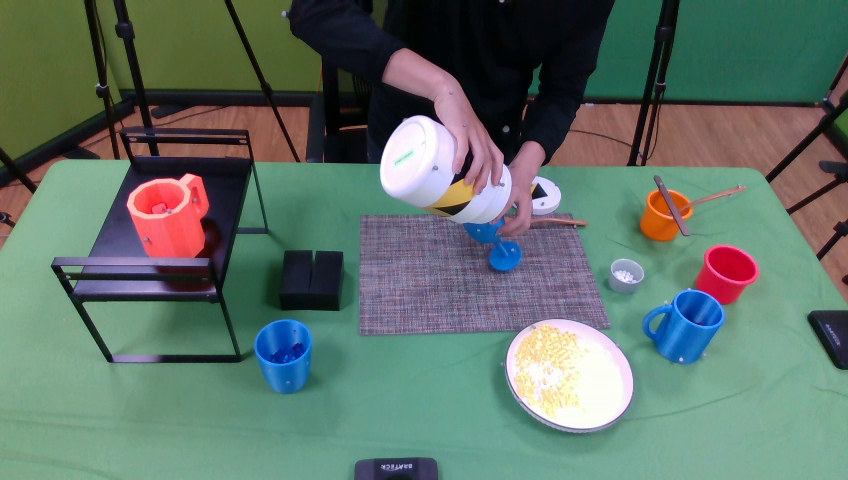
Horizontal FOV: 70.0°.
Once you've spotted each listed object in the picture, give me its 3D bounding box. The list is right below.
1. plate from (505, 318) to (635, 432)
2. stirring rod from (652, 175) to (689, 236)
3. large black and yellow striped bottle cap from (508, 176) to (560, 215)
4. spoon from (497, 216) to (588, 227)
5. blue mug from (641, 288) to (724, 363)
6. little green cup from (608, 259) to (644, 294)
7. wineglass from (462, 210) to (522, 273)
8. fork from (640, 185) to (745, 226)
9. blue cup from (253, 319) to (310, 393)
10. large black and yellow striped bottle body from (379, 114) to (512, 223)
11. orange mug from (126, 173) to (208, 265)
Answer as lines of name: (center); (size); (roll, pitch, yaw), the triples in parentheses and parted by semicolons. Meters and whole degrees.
plate: (0.235, 0.221, 0.991); (0.209, 0.038, 0.208); (2, 45, -2)
stirring rod: (0.491, -0.072, 1.211); (0.014, 0.006, 0.175); (0, 46, -6)
large black and yellow striped bottle cap: (0.237, -0.098, 1.312); (0.115, 0.019, 0.114); (2, 43, -1)
spoon: (0.246, -0.039, 1.247); (0.194, 0.022, 0.041); (-2, 24, -6)
blue mug: (0.432, 0.144, 1.033); (0.116, 0.106, 0.082); (9, 46, 4)
little green cup: (0.379, 0.070, 1.147); (0.061, 0.039, 0.061); (3, 45, -3)
wineglass: (0.122, -0.013, 1.091); (0.073, 0.173, 0.073); (-13, 55, 19)
fork: (0.534, -0.069, 1.215); (0.207, 0.019, 0.028); (-26, 28, 33)
blue cup: (-0.217, 0.187, 0.943); (0.093, 0.101, 0.092); (3, 45, -3)
large black and yellow striped bottle body: (0.037, -0.103, 0.950); (0.185, 0.131, 0.130); (19, 35, -36)
orange mug: (-0.371, -0.039, 0.902); (0.083, 0.101, 0.126); (18, 51, 14)
